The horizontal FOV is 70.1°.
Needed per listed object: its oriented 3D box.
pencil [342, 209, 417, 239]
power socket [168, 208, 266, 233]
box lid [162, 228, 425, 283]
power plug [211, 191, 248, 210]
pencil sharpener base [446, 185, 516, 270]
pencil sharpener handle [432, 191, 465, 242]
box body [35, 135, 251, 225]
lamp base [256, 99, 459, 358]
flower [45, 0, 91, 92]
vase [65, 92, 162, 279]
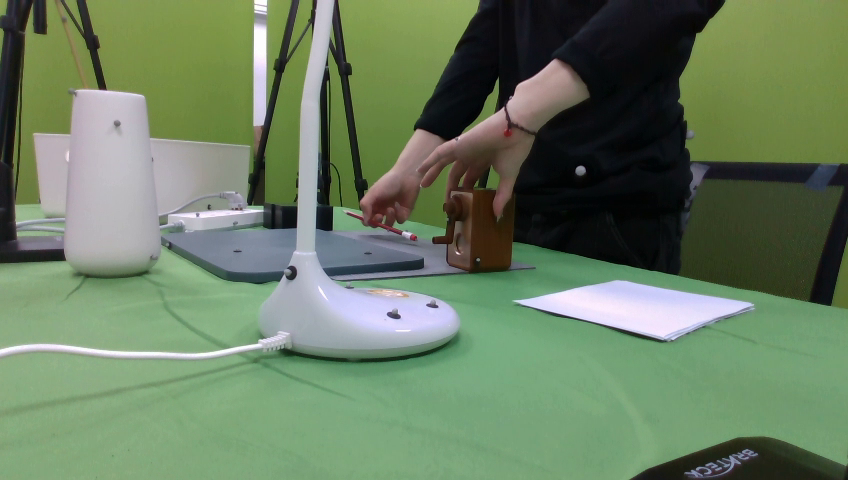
[{"bbox_3d":[-0.082,-0.031,1.053,0.193,0.012,0.012,21,18,40],"label":"pencil"},{"bbox_3d":[-0.379,-0.038,1.129,0.072,0.032,0.227,4,8,18],"label":"power socket"},{"bbox_3d":[-0.200,0.014,0.861,0.265,0.015,0.369,-4,9,-35],"label":"box lid"},{"bbox_3d":[-0.384,-0.071,1.205,0.072,0.052,0.035,1,8,28],"label":"power plug"},{"bbox_3d":[0.073,-0.018,0.801,0.077,0.107,0.061,-3,9,-31],"label":"pencil sharpener base"},{"bbox_3d":[0.028,-0.029,0.774,0.031,0.067,0.036,-3,17,-31],"label":"pencil sharpener handle"},{"bbox_3d":[-0.559,-0.127,1.257,0.253,0.160,0.365,4,8,15],"label":"box body"},{"bbox_3d":[-0.055,-0.013,0.463,0.160,0.180,0.180,6,11,27],"label":"lamp base"},{"bbox_3d":[-0.361,-0.142,0.663,0.044,0.361,0.038,-11,11,30],"label":"flower"},{"bbox_3d":[-0.347,-0.060,0.673,0.098,0.200,0.098,1,7,0],"label":"vase"}]
